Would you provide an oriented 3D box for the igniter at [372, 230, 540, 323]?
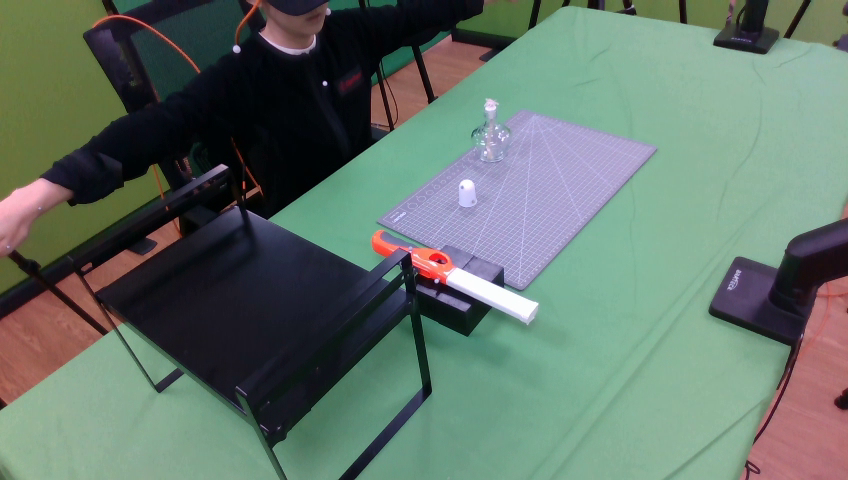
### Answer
[{"bbox_3d":[0.032,0.045,0.842,0.274,0.025,0.057,24,47,28],"label":"igniter"}]

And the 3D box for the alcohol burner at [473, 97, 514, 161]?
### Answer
[{"bbox_3d":[0.127,-0.208,1.123,0.078,0.119,0.077,-5,39,5],"label":"alcohol burner"}]

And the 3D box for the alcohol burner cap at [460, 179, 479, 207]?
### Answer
[{"bbox_3d":[0.078,-0.083,1.041,0.034,0.048,0.033,-5,42,5],"label":"alcohol burner cap"}]
